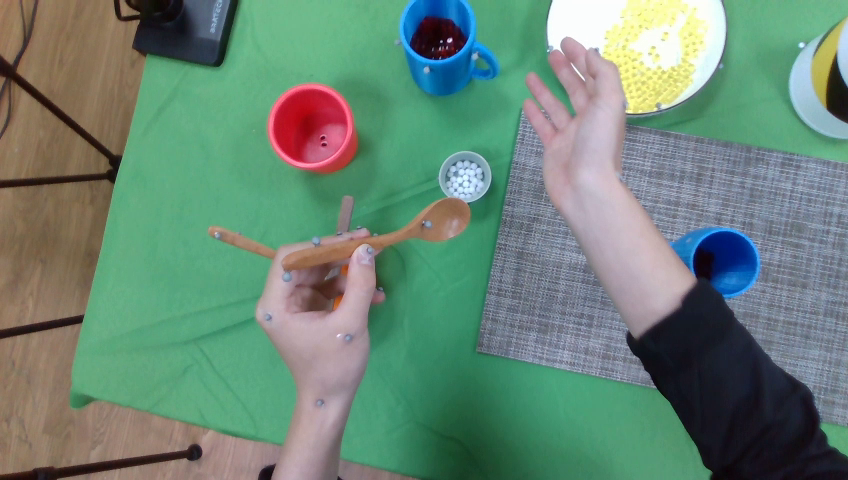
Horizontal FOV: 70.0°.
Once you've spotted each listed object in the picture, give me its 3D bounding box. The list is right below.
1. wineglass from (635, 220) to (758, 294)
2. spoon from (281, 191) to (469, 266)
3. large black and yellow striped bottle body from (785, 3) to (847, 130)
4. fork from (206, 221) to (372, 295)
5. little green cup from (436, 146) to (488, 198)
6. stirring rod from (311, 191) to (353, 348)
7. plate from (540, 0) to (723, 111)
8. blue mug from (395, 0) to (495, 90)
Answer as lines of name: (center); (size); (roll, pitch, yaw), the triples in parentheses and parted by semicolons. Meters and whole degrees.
wineglass: (0.275, 0.020, 0.630); (0.073, 0.172, 0.073); (0, 86, 4)
spoon: (-0.026, -0.007, 0.453); (0.021, 0.194, 0.042); (30, 118, 28)
large black and yellow striped bottle body: (0.483, -0.198, 0.626); (0.131, 0.184, 0.130); (0, 86, 4)
fork: (-0.143, 0.021, 0.674); (0.209, 0.018, 0.028); (26, 95, -38)
little green cup: (0.046, -0.079, 0.722); (0.061, 0.039, 0.061); (0, 87, 5)
stirring rod: (-0.102, 0.032, 0.668); (0.014, 0.006, 0.176); (10, 87, 5)
plate: (0.241, -0.252, 0.718); (0.209, 0.038, 0.209); (0, 88, 4)
blue mug: (0.028, -0.222, 0.697); (0.116, 0.106, 0.082); (24, 89, 5)
